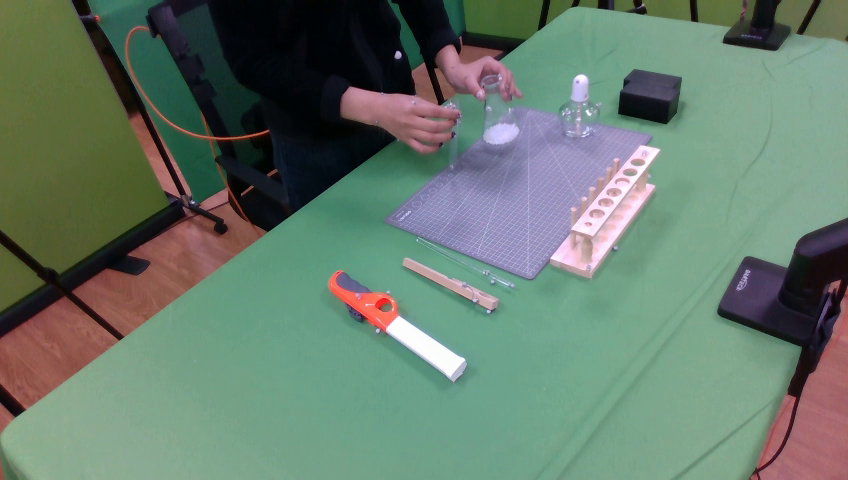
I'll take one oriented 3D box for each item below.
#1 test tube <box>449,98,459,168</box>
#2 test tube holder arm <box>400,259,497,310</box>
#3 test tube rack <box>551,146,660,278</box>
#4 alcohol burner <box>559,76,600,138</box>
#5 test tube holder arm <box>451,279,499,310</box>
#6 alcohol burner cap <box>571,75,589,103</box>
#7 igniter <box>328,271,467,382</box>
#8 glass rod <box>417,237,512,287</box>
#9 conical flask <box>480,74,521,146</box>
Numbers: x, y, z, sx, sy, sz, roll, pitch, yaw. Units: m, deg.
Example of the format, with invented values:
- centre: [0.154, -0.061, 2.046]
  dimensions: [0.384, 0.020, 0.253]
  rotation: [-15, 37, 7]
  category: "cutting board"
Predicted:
- centre: [0.051, -0.182, 1.049]
  dimensions: [0.017, 0.151, 0.017]
  rotation: [-1, 51, 1]
  category: "test tube"
- centre: [0.033, 0.064, 0.902]
  dimensions: [0.177, 0.015, 0.013]
  rotation: [23, 14, 32]
  category: "test tube holder arm"
- centre: [0.286, -0.053, 0.943]
  dimensions: [0.066, 0.085, 0.243]
  rotation: [21, 49, 32]
  category: "test tube rack"
- centre: [0.298, -0.258, 1.156]
  dimensions: [0.078, 0.119, 0.077]
  rotation: [-4, 39, 4]
  category: "alcohol burner"
- centre: [0.071, 0.079, 0.882]
  dimensions: [0.087, 0.015, 0.010]
  rotation: [24, 14, 34]
  category: "test tube holder arm"
- centre: [0.294, -0.285, 1.132]
  dimensions: [0.034, 0.048, 0.033]
  rotation: [-5, 46, 5]
  category: "alcohol burner cap"
- centre: [-0.049, 0.114, 0.854]
  dimensions: [0.274, 0.025, 0.057]
  rotation: [29, 63, 37]
  category: "igniter"
- centre: [0.058, 0.032, 0.945]
  dimensions: [0.198, 0.008, 0.008]
  rotation: [26, 52, 38]
  category: "glass rod"
- centre: [0.132, -0.238, 1.097]
  dimensions: [0.075, 0.122, 0.075]
  rotation: [-10, 43, 11]
  category: "conical flask"
